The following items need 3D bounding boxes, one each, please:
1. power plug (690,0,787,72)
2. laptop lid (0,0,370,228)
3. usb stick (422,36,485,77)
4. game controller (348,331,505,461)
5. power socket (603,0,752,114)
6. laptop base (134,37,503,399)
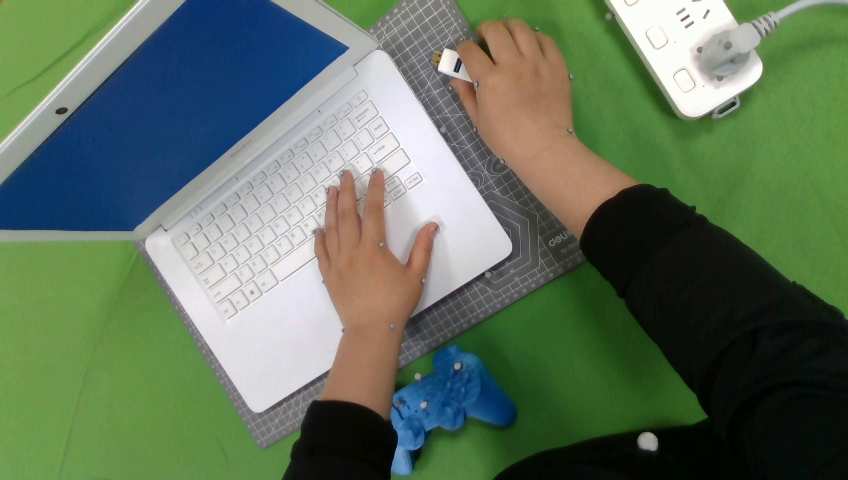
[{"bbox_3d":[0.245,-0.157,0.470,0.072,0.052,0.035,-20,92,14],"label":"power plug"},{"bbox_3d":[-0.229,-0.106,0.518,0.356,0.242,0.013,-34,80,20],"label":"laptop lid"},{"bbox_3d":[0.025,-0.170,0.553,0.059,0.027,0.021,22,98,13],"label":"usb stick"},{"bbox_3d":[-0.006,0.159,0.608,0.155,0.052,0.097,-32,85,18],"label":"game controller"},{"bbox_3d":[0.187,-0.208,0.498,0.072,0.032,0.226,-30,90,19],"label":"power socket"},{"bbox_3d":[-0.122,-0.008,0.628,0.354,0.023,0.235,-33,92,18],"label":"laptop base"}]
